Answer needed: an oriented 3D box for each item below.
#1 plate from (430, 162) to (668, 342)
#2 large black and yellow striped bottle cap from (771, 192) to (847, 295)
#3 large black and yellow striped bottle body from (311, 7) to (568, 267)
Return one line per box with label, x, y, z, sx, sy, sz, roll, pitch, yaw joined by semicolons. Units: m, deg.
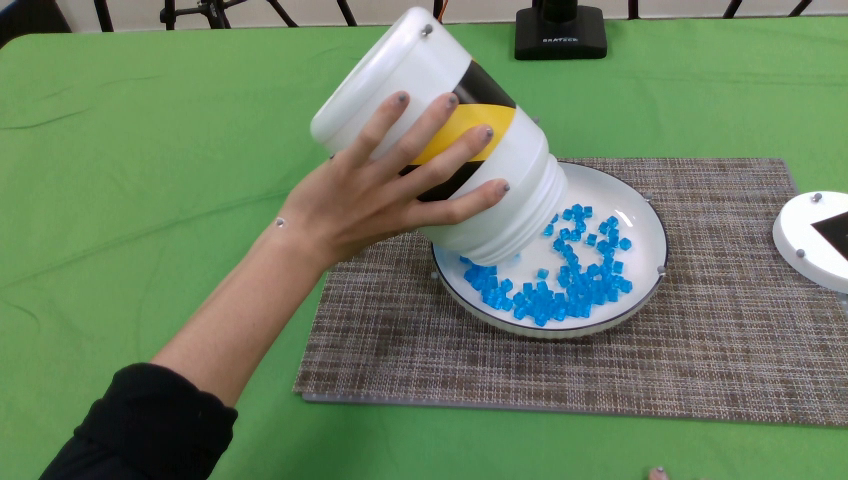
plate;0.110;0.009;0.550;0.207;0.039;0.205;-3;47;4
large black and yellow striped bottle cap;0.376;0.000;0.543;0.115;0.019;0.114;-1;49;1
large black and yellow striped bottle body;0.017;-0.076;0.492;0.131;0.185;0.129;-42;19;19
